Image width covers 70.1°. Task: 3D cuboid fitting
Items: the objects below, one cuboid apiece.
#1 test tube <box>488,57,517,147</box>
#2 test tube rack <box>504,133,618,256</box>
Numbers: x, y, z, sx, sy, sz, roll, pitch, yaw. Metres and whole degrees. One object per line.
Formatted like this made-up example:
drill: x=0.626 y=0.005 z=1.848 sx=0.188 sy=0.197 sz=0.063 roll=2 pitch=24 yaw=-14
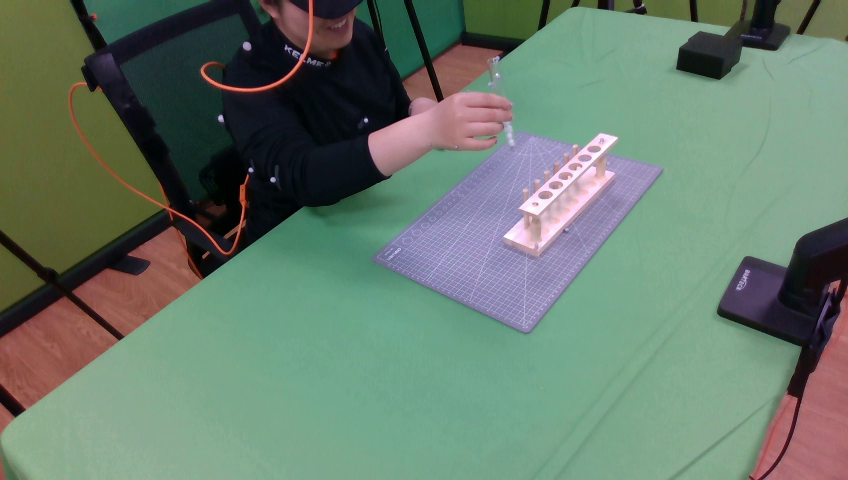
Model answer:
test tube: x=0.116 y=-0.196 z=0.882 sx=0.017 sy=0.151 sz=0.017 roll=-12 pitch=43 yaw=12
test tube rack: x=0.225 y=-0.083 z=0.985 sx=0.066 sy=0.085 sz=0.243 roll=25 pitch=50 yaw=34
